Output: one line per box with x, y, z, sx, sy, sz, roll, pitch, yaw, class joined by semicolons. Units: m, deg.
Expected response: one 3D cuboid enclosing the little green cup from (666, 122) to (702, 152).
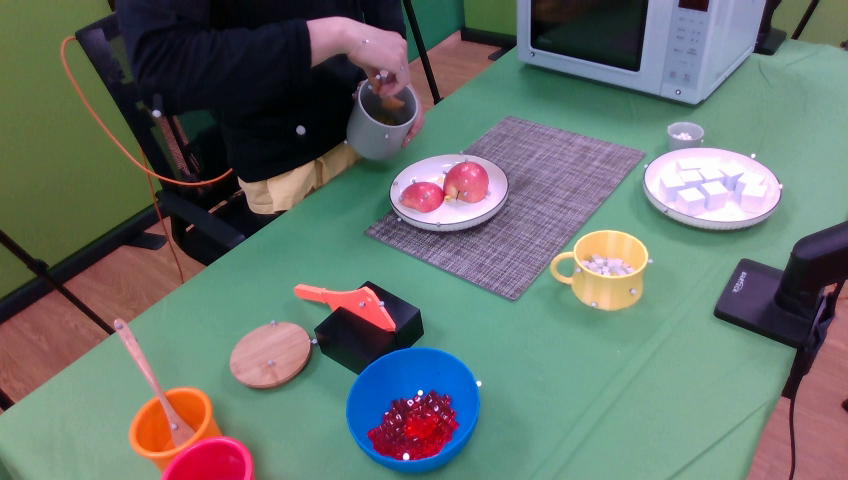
0.471;-0.184;1.102;0.061;0.039;0.061;-5;41;5;little green cup

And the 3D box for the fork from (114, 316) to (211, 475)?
-0.309;0.179;0.708;0.028;0.018;0.207;-30;89;-24;fork

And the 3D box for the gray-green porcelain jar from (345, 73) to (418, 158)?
-0.079;-0.213;1.064;0.106;0.126;0.105;7;66;-17;gray-green porcelain jar

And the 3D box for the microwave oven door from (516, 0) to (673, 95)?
0.344;-0.458;1.256;0.353;0.245;0.039;26;51;33;microwave oven door

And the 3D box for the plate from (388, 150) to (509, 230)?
0.044;-0.083;1.043;0.209;0.038;0.208;-4;40;4;plate

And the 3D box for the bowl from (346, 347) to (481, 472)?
-0.008;0.205;0.691;0.151;0.077;0.150;-4;40;4;bowl

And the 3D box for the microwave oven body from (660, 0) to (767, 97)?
0.473;-0.516;1.313;0.438;0.261;0.327;26;51;34;microwave oven body

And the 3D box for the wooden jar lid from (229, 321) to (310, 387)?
-0.207;0.156;0.821;0.108;0.021;0.108;-3;39;3;wooden jar lid

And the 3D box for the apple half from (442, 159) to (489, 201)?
0.074;-0.110;1.047;0.080;0.053;0.075;21;46;30;apple half

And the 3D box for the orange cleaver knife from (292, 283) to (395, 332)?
-0.115;0.092;0.835;0.209;0.077;0.012;1;32;48;orange cleaver knife

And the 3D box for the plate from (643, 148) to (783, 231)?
0.464;-0.080;0.986;0.207;0.039;0.206;-4;41;4;plate

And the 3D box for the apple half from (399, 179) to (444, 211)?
-0.004;-0.087;1.045;0.081;0.033;0.081;-2;43;2;apple half

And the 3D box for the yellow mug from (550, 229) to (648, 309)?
0.245;0.040;0.857;0.130;0.064;0.099;1;42;11;yellow mug

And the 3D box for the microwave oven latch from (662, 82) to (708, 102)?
0.518;-0.299;1.203;0.078;0.029;0.030;29;53;36;microwave oven latch

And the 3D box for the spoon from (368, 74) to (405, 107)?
-0.063;-0.234;0.946;0.041;0.021;0.194;-1;-2;8;spoon
